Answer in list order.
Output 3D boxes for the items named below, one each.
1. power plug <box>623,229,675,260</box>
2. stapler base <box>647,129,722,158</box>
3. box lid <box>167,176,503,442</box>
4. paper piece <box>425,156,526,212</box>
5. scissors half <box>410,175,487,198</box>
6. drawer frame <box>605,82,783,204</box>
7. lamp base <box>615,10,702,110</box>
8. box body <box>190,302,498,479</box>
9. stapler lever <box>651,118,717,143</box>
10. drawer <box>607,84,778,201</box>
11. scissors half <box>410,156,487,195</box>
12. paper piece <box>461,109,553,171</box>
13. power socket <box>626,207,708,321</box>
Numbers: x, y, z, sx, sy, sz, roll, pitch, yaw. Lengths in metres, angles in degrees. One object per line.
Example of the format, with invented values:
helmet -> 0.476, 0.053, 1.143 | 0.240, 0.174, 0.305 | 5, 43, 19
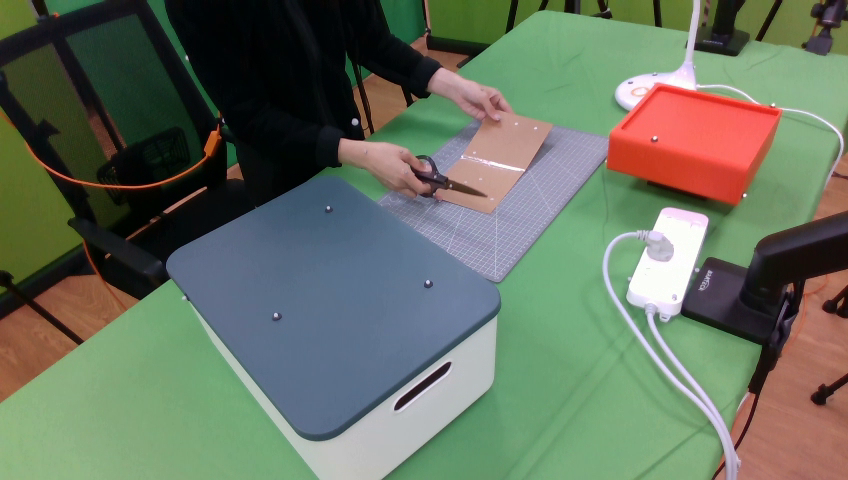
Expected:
power plug -> 0.327, 0.007, 0.878 | 0.072, 0.053, 0.035 | 25, 51, 33
stapler base -> 0.439, -0.167, 1.024 | 0.131, 0.024, 0.041 | -16, 25, -15
box lid -> -0.119, 0.047, 0.714 | 0.264, 0.015, 0.368 | -32, 47, -27
paper piece -> 0.094, -0.105, 1.093 | 0.135, 0.004, 0.136 | 21, 47, 29
scissors half -> 0.038, -0.085, 1.010 | 0.013, 0.040, 0.173 | -17, 20, -40
drawer frame -> 0.441, -0.167, 0.995 | 0.212, 0.083, 0.202 | 23, 48, 30
lamp base -> 0.484, -0.364, 1.211 | 0.180, 0.181, 0.159 | -15, 41, -14
box body -> -0.110, 0.103, 0.761 | 0.255, 0.161, 0.361 | -33, 46, -27
stapler lever -> 0.436, -0.192, 1.014 | 0.118, 0.040, 0.026 | -15, 25, -16
drawer -> 0.438, -0.167, 0.996 | 0.210, 0.073, 0.195 | 23, 48, 30
scissors half -> 0.038, -0.103, 1.003 | 0.013, 0.040, 0.173 | -24, 40, -38
paper piece -> 0.160, -0.193, 1.161 | 0.137, 0.009, 0.136 | 20, 59, 26
power socket -> 0.360, 0.026, 0.886 | 0.072, 0.033, 0.227 | 16, 46, 26
